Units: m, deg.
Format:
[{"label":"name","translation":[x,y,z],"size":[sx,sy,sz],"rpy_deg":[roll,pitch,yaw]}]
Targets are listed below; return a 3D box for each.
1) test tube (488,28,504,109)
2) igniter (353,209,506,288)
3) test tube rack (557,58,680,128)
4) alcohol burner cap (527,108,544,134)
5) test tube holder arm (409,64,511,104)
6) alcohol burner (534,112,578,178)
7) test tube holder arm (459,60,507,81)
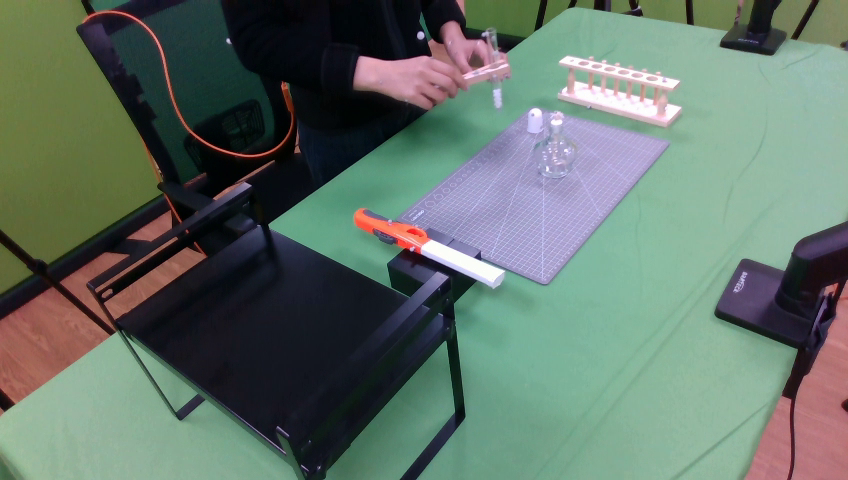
[{"label":"test tube","translation":[0.123,-0.286,1.023],"size":[0.017,0.151,0.017],"rpy_deg":[-7,46,7]},{"label":"igniter","translation":[-0.003,0.006,0.892],"size":[0.274,0.025,0.057],"rpy_deg":[24,37,31]},{"label":"test tube rack","translation":[0.395,-0.309,1.230],"size":[0.240,0.085,0.067],"rpy_deg":[25,50,33]},{"label":"alcohol burner cap","translation":[0.222,-0.238,1.203],"size":[0.034,0.048,0.033],"rpy_deg":[-5,40,5]},{"label":"test tube holder arm","translation":[0.060,-0.261,1.012],"size":[0.179,0.015,0.013],"rpy_deg":[-20,43,-5]},{"label":"alcohol burner","translation":[0.232,-0.170,1.066],"size":[0.078,0.119,0.077],"rpy_deg":[-5,39,5]},{"label":"test tube holder arm","translation":[0.100,-0.281,1.022],"size":[0.088,0.015,0.010],"rpy_deg":[-25,44,-11]}]
